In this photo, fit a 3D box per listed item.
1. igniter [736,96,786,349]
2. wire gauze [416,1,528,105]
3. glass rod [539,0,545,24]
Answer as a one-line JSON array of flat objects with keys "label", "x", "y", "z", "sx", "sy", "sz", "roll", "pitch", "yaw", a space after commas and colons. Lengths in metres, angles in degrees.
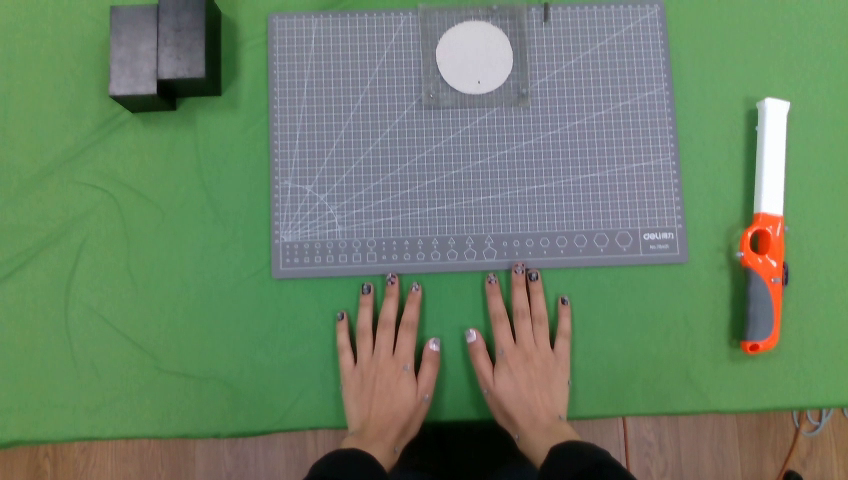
[{"label": "igniter", "x": 0.365, "y": -0.020, "z": 0.653, "sx": 0.057, "sy": 0.025, "sz": 0.275, "roll": 8, "pitch": 83, "yaw": -10}, {"label": "wire gauze", "x": 0.053, "y": -0.210, "z": 0.681, "sx": 0.125, "sy": 0.011, "sz": 0.121, "roll": -1, "pitch": 82, "yaw": 0}, {"label": "glass rod", "x": 0.139, "y": -0.344, "z": 0.699, "sx": 0.008, "sy": 0.008, "sz": 0.199, "roll": 3, "pitch": 84, "yaw": 0}]
